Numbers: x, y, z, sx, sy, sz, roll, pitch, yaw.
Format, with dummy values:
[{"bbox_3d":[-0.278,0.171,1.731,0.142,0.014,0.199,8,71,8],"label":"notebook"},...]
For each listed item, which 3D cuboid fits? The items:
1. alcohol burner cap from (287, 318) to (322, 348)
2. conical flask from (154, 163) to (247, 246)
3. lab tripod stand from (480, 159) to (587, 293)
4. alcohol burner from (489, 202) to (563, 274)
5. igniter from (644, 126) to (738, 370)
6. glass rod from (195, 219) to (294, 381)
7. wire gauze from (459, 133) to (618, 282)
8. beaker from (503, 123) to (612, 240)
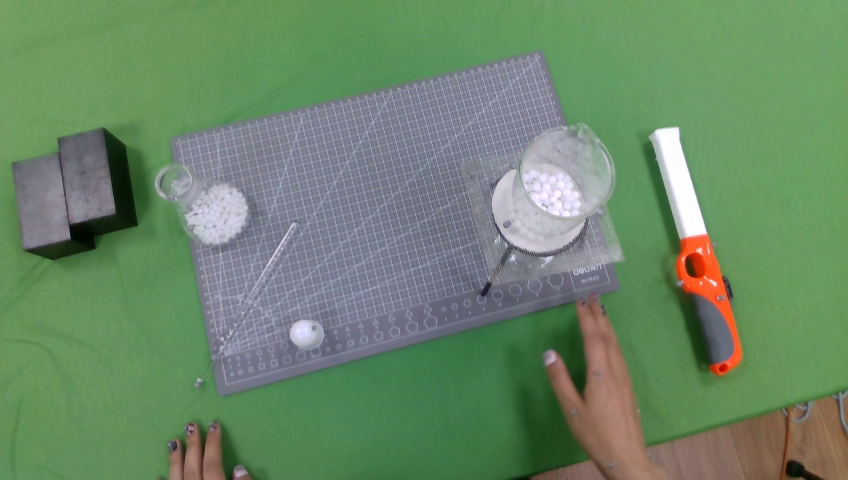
[{"bbox_3d":[-0.128,0.096,0.638,0.034,0.048,0.033,0,78,-1],"label":"alcohol burner cap"},{"bbox_3d":[-0.235,-0.042,0.624,0.075,0.122,0.075,0,77,0],"label":"conical flask"},{"bbox_3d":[0.104,-0.014,0.618,0.148,0.132,0.148,0,80,-1],"label":"lab tripod stand"},{"bbox_3d":[0.107,-0.006,0.626,0.078,0.119,0.077,0,79,2],"label":"alcohol burner"},{"bbox_3d":[0.296,0.004,0.674,0.057,0.025,0.275,-8,78,-13],"label":"igniter"},{"bbox_3d":[-0.194,0.062,0.660,0.008,0.008,0.199,28,79,5],"label":"glass rod"},{"bbox_3d":[0.105,-0.030,0.554,0.125,0.011,0.121,-12,81,-4],"label":"wire gauze"},{"bbox_3d":[0.107,-0.045,0.508,0.074,0.100,0.083,21,79,3],"label":"beaker"}]
